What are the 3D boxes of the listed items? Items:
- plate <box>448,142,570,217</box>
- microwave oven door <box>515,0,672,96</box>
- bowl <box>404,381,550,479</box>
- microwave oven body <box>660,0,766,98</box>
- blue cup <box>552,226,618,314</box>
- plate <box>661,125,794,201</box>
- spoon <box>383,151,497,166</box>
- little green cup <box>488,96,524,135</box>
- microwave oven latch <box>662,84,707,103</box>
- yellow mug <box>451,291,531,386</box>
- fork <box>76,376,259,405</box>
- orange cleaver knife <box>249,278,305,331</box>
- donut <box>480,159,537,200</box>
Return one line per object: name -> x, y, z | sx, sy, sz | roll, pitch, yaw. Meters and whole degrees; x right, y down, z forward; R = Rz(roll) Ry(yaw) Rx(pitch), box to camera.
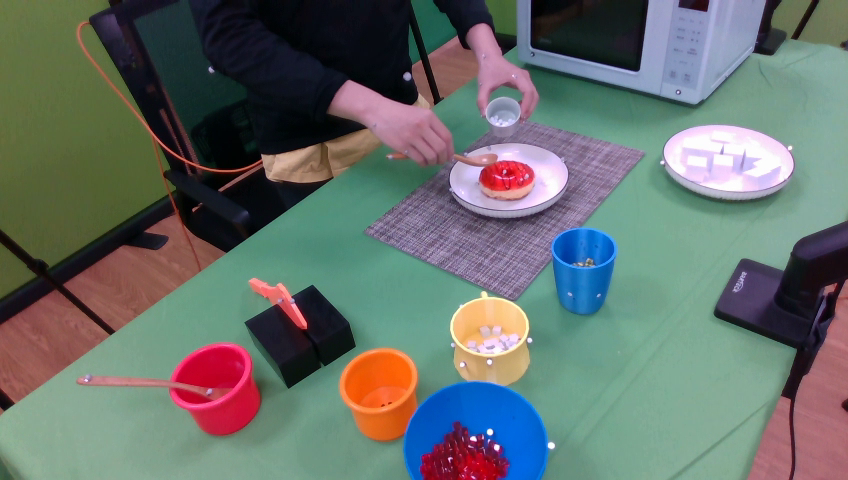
plate -> 0.148, -0.101, 1.053 | 0.209, 0.038, 0.208 | -4, 40, 4
microwave oven door -> 0.344, -0.455, 1.260 | 0.353, 0.245, 0.039 | 26, 51, 33
bowl -> 0.058, 0.235, 0.645 | 0.151, 0.077, 0.150 | -4, 39, 4
microwave oven body -> 0.473, -0.513, 1.317 | 0.438, 0.261, 0.327 | 26, 51, 34
blue cup -> 0.218, 0.047, 0.826 | 0.092, 0.100, 0.092 | -6, 40, 5
plate -> 0.513, -0.128, 1.035 | 0.207, 0.039, 0.206 | -4, 40, 4
spoon -> 0.027, -0.129, 0.936 | 0.195, 0.021, 0.041 | 1, 25, -26
little green cup -> 0.140, -0.213, 1.046 | 0.061, 0.039, 0.061 | 0, 76, -1
microwave oven latch -> 0.517, -0.296, 1.204 | 0.078, 0.029, 0.030 | 26, 52, 34
yellow mug -> 0.085, 0.120, 0.786 | 0.100, 0.064, 0.130 | -7, 39, 1
fork -> -0.295, 0.176, 0.716 | 0.209, 0.018, 0.028 | 19, 26, -36
orange cleaver knife -> -0.210, 0.088, 0.856 | 0.012, 0.077, 0.210 | -28, 15, -25
donut -> 0.146, -0.107, 1.042 | 0.099, 0.048, 0.098 | -4, 38, 4
